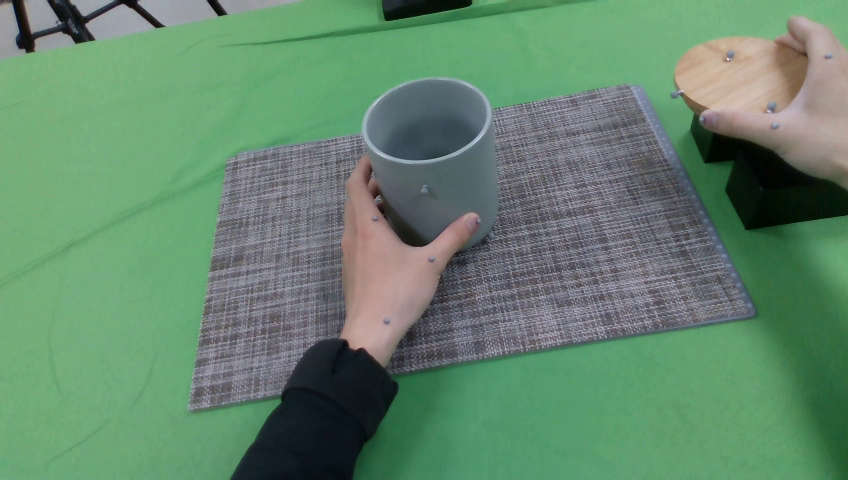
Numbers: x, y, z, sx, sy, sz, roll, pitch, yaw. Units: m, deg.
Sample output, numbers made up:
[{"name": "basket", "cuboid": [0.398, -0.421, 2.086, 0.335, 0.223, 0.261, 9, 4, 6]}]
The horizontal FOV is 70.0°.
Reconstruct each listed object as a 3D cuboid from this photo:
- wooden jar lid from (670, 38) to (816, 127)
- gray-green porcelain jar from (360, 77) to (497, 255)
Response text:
[{"name": "wooden jar lid", "cuboid": [0.262, -0.131, 0.503, 0.108, 0.021, 0.107, -6, 50, 8]}, {"name": "gray-green porcelain jar", "cuboid": [0.009, -0.058, 0.525, 0.106, 0.128, 0.105, -5, 50, 7]}]
